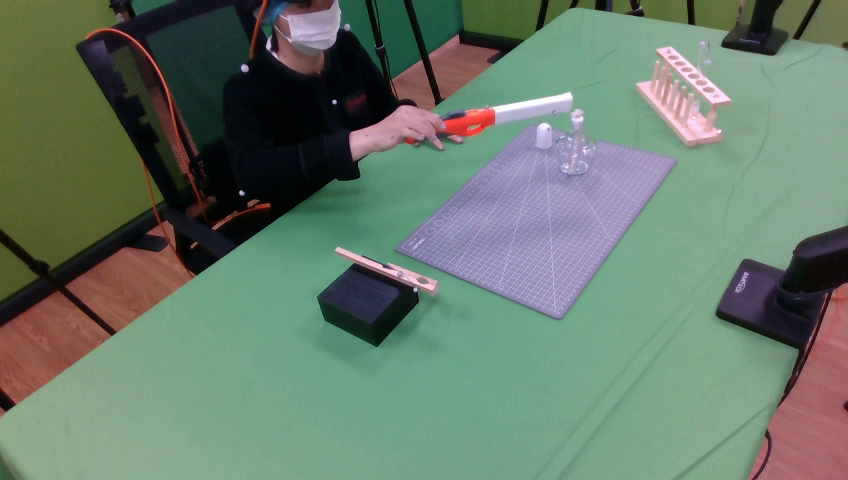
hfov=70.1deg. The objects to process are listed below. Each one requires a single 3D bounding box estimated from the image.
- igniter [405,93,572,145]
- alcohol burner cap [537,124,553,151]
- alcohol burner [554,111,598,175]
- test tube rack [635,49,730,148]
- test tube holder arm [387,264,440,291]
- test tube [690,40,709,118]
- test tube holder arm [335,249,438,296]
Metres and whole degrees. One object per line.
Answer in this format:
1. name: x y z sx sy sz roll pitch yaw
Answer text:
1. igniter: 0.104 -0.196 0.978 0.277 0.057 0.025 -12 55 -4
2. alcohol burner cap: 0.232 -0.199 1.158 0.034 0.048 0.033 -4 40 4
3. alcohol burner: 0.270 -0.175 1.066 0.078 0.119 0.077 -4 42 4
4. test tube rack: 0.497 -0.283 1.185 0.067 0.085 0.240 -10 40 -2
5. test tube holder arm: -0.017 0.052 0.842 0.087 0.015 0.010 18 55 28
6. test tube: 0.510 -0.295 1.120 0.017 0.151 0.017 -6 39 6
7. test tube holder arm: -0.057 0.044 0.861 0.177 0.015 0.013 18 55 28
